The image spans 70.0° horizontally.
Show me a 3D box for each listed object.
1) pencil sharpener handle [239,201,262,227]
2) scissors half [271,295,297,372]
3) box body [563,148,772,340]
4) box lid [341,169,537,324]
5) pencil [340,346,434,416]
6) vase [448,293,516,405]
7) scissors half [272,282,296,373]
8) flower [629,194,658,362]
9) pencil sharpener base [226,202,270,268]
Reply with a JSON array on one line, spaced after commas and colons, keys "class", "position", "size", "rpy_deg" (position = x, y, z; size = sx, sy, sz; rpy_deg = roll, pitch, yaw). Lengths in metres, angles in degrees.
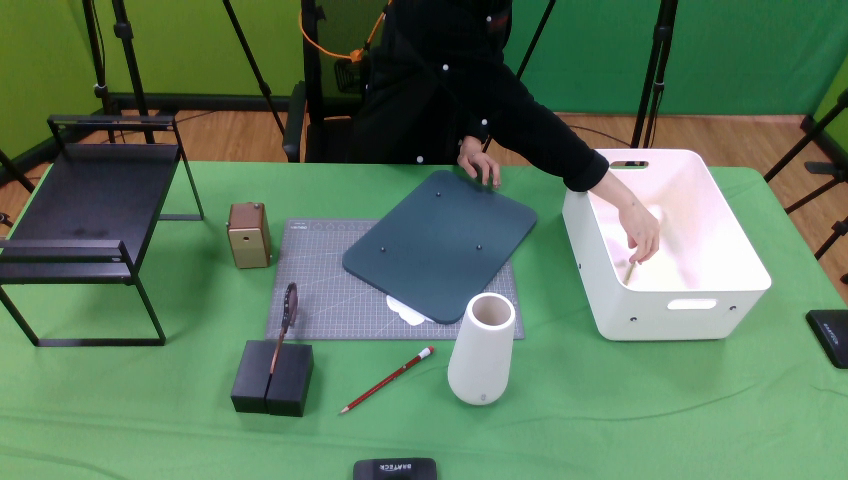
[{"class": "pencil sharpener handle", "position": [-0.325, -0.056, 1.149], "size": [0.036, 0.068, 0.030], "rpy_deg": [-13, 46, 4]}, {"class": "scissors half", "position": [-0.230, 0.154, 1.000], "size": [0.013, 0.040, 0.174], "rpy_deg": [1, 34, 1]}, {"class": "box body", "position": [0.421, 0.003, 1.130], "size": [0.254, 0.161, 0.361], "rpy_deg": [0, 46, -5]}, {"class": "box lid", "position": [0.038, -0.004, 1.210], "size": [0.262, 0.015, 0.371], "rpy_deg": [27, 49, 21]}, {"class": "pencil", "position": [-0.058, 0.227, 0.984], "size": [0.194, 0.012, 0.012], "rpy_deg": [-32, 56, -28]}, {"class": "vase", "position": [0.091, 0.169, 0.921], "size": [0.098, 0.201, 0.097], "rpy_deg": [3, 47, -3]}, {"class": "scissors half", "position": [-0.229, 0.139, 0.986], "size": [0.013, 0.040, 0.174], "rpy_deg": [4, 51, -3]}, {"class": "flower", "position": [0.421, 0.066, 1.183], "size": [0.038, 0.044, 0.360], "rpy_deg": [30, 61, -27]}, {"class": "pencil sharpener base", "position": [-0.323, -0.010, 1.123], "size": [0.061, 0.107, 0.076], "rpy_deg": [-3, 46, -7]}]
